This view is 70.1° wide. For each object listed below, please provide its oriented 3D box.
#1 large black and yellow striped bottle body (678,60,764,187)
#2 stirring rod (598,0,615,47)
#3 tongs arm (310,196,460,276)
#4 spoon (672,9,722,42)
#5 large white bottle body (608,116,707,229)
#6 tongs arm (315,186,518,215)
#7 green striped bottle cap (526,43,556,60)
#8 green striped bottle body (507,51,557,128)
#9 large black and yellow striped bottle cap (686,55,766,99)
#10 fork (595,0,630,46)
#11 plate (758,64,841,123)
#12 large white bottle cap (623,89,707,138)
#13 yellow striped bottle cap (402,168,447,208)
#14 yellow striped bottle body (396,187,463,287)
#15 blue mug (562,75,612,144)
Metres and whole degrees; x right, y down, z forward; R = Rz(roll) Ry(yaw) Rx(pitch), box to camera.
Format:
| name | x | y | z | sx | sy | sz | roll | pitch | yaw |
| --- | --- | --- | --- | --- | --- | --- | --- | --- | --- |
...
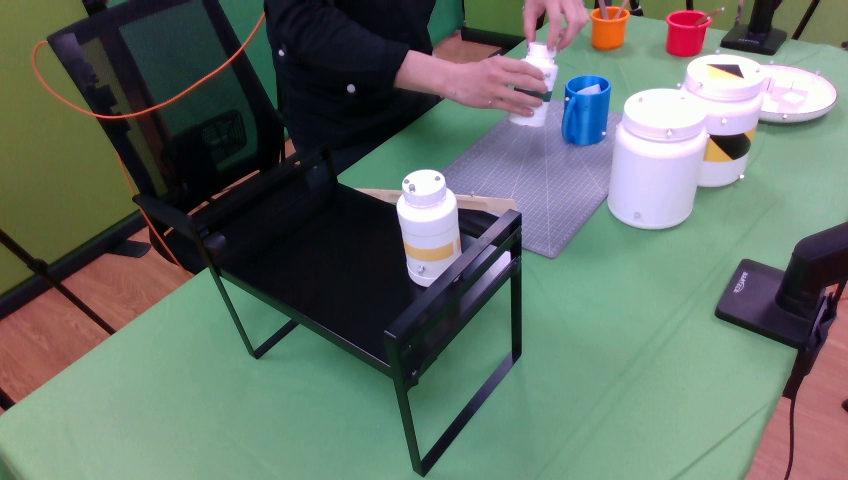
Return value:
| name | x | y | z | sx | sy | sz | roll | pitch | yaw |
| --- | --- | --- | --- | --- | --- | --- | --- | --- | --- |
| large black and yellow striped bottle body | 0.482 | -0.196 | 1.008 | 0.131 | 0.185 | 0.130 | -4 | 41 | 4 |
| stirring rod | 0.437 | -0.551 | 1.462 | 0.014 | 0.006 | 0.175 | -11 | 83 | 1 |
| tongs arm | -0.078 | -0.012 | 0.944 | 0.028 | 0.028 | 0.384 | -43 | 39 | -22 |
| spoon | 0.606 | -0.476 | 1.345 | 0.042 | 0.021 | 0.193 | -6 | -3 | -2 |
| large white bottle body | 0.361 | -0.123 | 0.941 | 0.130 | 0.185 | 0.130 | -5 | 41 | 4 |
| tongs arm | -0.028 | -0.060 | 0.988 | 0.382 | 0.027 | 0.051 | 10 | 45 | 36 |
| green striped bottle cap | 0.184 | -0.297 | 0.952 | 0.044 | 0.020 | 0.044 | 5 | 24 | -2 |
| green striped bottle body | 0.175 | -0.246 | 0.974 | 0.063 | 0.119 | 0.063 | 7 | 24 | -3 |
| large black and yellow striped bottle cap | 0.474 | -0.258 | 0.952 | 0.115 | 0.019 | 0.114 | -5 | 41 | 5 |
| fork | 0.479 | -0.556 | 1.452 | 0.028 | 0.019 | 0.207 | 41 | 103 | 40 |
| plate | 0.695 | -0.283 | 1.189 | 0.207 | 0.039 | 0.206 | -4 | 40 | 4 |
| large white bottle cap | 0.352 | -0.187 | 0.886 | 0.115 | 0.018 | 0.114 | -4 | 41 | 4 |
| yellow striped bottle cap | 0.000 | -0.052 | 0.605 | 0.044 | 0.019 | 0.044 | -5 | 43 | 5 |
| yellow striped bottle body | 0.006 | -0.013 | 0.638 | 0.063 | 0.121 | 0.062 | -5 | 41 | 5 |
| blue mug | 0.298 | -0.239 | 1.143 | 0.081 | 0.106 | 0.117 | 30 | 54 | 36 |
